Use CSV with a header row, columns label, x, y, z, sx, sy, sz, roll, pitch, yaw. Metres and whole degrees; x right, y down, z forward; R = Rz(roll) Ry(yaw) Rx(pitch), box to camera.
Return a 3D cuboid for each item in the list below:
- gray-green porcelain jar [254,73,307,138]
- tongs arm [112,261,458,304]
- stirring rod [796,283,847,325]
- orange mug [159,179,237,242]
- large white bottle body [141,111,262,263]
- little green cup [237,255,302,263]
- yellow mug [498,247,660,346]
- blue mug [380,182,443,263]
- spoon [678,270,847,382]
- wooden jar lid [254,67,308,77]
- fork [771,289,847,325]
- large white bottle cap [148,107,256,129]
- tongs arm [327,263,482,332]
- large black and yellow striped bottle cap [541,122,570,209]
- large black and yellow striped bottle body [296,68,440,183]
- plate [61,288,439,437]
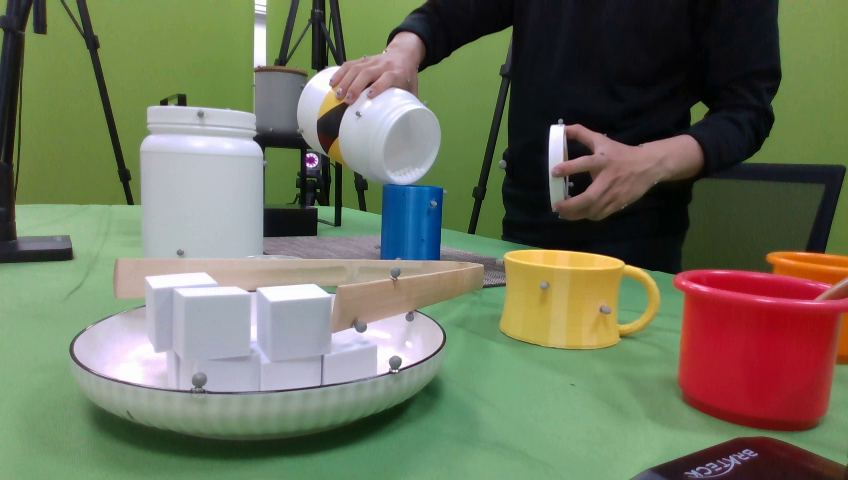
label,x,y,z,sx,sy,sz,roll,pitch,yaw
gray-green porcelain jar,-0.298,-0.277,1.259,0.106,0.126,0.106,3,7,0
tongs arm,-0.080,0.032,0.527,0.028,0.027,0.389,-3,-3,33
stirring rod,0.346,0.019,0.460,0.014,0.176,0.006,-17,59,-26
orange mug,-0.368,-0.052,0.991,0.127,0.101,0.083,-10,14,-41
large white bottle body,-0.254,-0.054,0.697,0.131,0.184,0.130,2,7,0
little green cup,-0.150,0.038,0.590,0.061,0.038,0.061,3,6,0
yellow mug,0.130,0.045,0.508,0.131,0.064,0.100,4,7,6
blue mug,-0.019,-0.026,0.833,0.082,0.106,0.116,1,7,-7
spoon,0.229,0.031,0.338,0.193,0.021,0.042,-44,-17,27
wooden jar lid,-0.296,-0.339,1.251,0.108,0.020,0.108,2,7,0
fork,0.335,0.018,0.443,0.028,0.018,0.207,-1,-36,-20
large white bottle cap,-0.250,-0.137,0.686,0.115,0.018,0.115,2,8,0
tongs arm,-0.003,0.036,0.493,0.050,0.026,0.386,1,0,19
large black and yellow striped bottle cap,0.175,-0.098,0.798,0.018,0.115,0.115,1,7,22
large black and yellow striped bottle body,-0.079,-0.160,0.855,0.183,0.130,0.131,29,23,38
plate,-0.095,0.069,0.362,0.208,0.039,0.207,3,7,0
